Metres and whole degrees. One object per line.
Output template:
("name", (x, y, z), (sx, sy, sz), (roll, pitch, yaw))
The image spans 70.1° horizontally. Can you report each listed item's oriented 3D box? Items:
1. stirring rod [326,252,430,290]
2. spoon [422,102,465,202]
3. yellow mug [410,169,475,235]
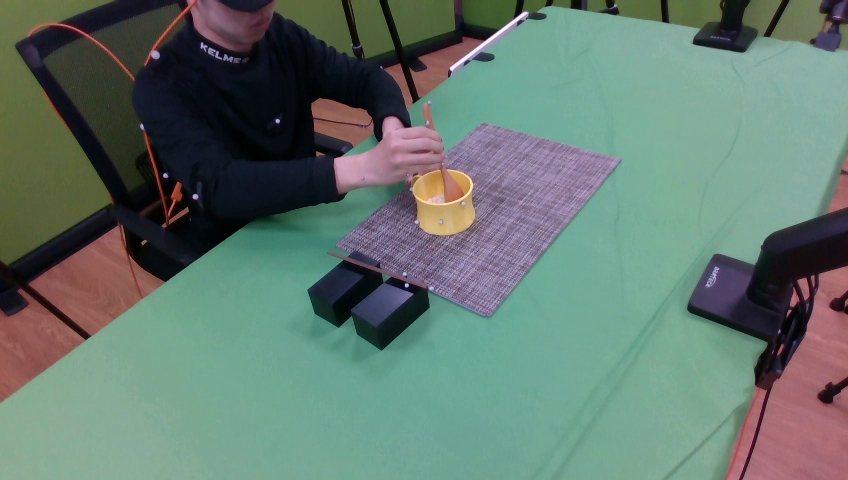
("stirring rod", (-0.068, 0.043, 0.859), (0.175, 0.006, 0.014), (17, 11, 26))
("spoon", (0.028, -0.127, 0.968), (0.042, 0.194, 0.021), (-32, 25, -22))
("yellow mug", (0.022, -0.070, 1.007), (0.129, 0.064, 0.100), (29, 52, 36))
